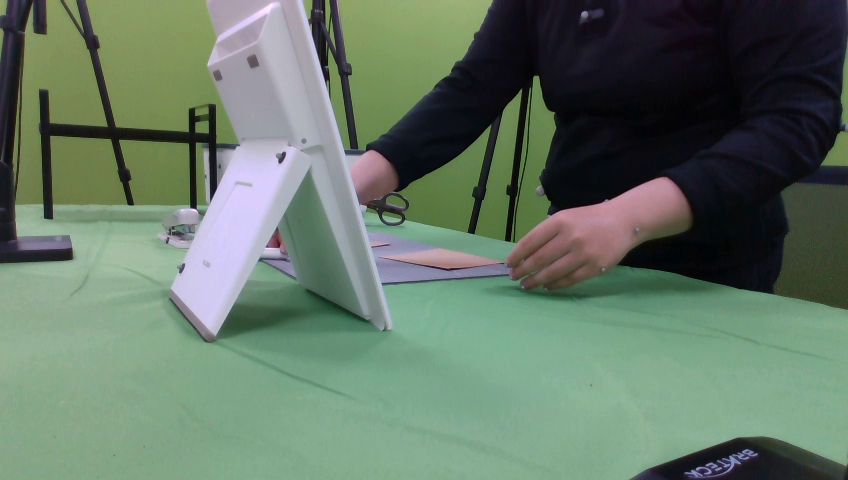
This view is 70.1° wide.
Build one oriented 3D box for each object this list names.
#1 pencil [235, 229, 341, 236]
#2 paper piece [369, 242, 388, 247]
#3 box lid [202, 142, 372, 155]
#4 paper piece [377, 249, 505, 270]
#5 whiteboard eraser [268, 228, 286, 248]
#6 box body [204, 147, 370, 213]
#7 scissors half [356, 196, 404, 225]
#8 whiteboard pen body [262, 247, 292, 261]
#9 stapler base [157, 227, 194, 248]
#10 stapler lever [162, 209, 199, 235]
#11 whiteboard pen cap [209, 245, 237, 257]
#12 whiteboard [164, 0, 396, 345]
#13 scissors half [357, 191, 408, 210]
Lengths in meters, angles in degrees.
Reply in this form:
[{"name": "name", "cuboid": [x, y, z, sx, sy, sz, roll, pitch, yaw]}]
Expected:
[{"name": "pencil", "cuboid": [-0.232, -0.012, 1.053, 0.195, 0.012, 0.012, 0, 8, -36]}, {"name": "paper piece", "cuboid": [-0.151, 0.003, 0.978, 0.135, 0.008, 0.139, 13, 10, 35]}, {"name": "box lid", "cuboid": [-0.344, -0.225, 1.509, 0.373, 0.015, 0.262, -2, 8, -31]}, {"name": "paper piece", "cuboid": [0.025, 0.026, 0.865, 0.134, 0.004, 0.136, 10, 10, 43]}, {"name": "whiteboard eraser", "cuboid": [-0.253, -0.007, 0.886, 0.055, 0.042, 0.113, 12, 11, 42]}, {"name": "box body", "cuboid": [-0.346, -0.152, 1.519, 0.366, 0.160, 0.253, -1, 9, -31]}, {"name": "scissors half", "cuboid": [-0.127, -0.072, 1.322, 0.175, 0.040, 0.013, 22, 9, -5]}, {"name": "whiteboard pen body", "cuboid": [-0.208, 0.017, 0.803, 0.141, 0.017, 0.017, 3, 7, 1]}, {"name": "stapler base", "cuboid": [-0.376, -0.007, 0.935, 0.041, 0.024, 0.130, 1, 5, -38]}, {"name": "stapler lever", "cuboid": [-0.376, -0.031, 0.933, 0.027, 0.040, 0.117, 1, 7, -38]}, {"name": "whiteboard pen cap", "cuboid": [-0.267, 0.014, 0.804, 0.033, 0.018, 0.018, 0, 8, -1]}, {"name": "whiteboard", "cuboid": [-0.172, -0.053, 0.511, 0.144, 0.305, 0.216, -23, 19, -26]}, {"name": "scissors half", "cuboid": [-0.122, -0.091, 1.317, 0.175, 0.040, 0.013, 5, 16, -2]}]
